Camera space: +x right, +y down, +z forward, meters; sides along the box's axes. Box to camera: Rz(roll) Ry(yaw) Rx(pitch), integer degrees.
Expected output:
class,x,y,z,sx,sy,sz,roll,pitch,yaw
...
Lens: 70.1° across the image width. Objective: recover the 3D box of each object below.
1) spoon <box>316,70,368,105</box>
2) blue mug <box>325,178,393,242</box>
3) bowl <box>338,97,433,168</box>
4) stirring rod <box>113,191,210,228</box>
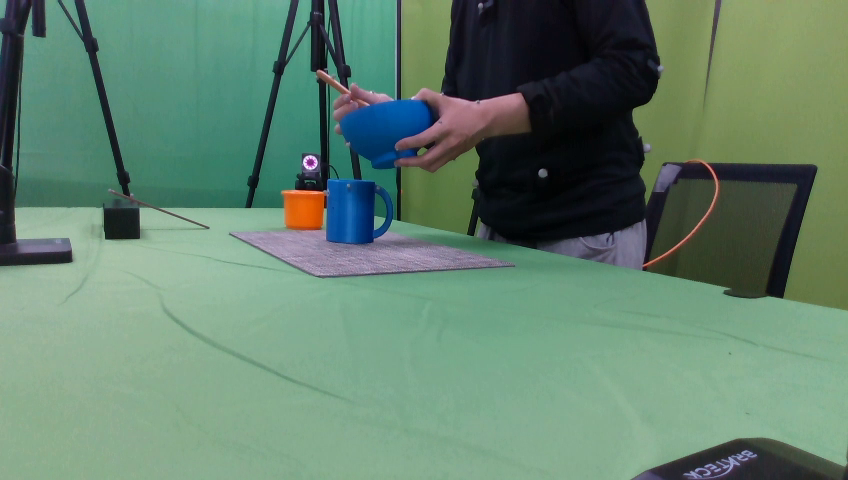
class,x,y,z,sx,sy,sz,roll,pitch,yaw
spoon,-0.099,-0.228,0.996,0.194,0.021,0.041,31,-34,3
blue mug,-0.111,-0.052,1.034,0.116,0.106,0.082,3,8,7
bowl,-0.053,-0.159,0.945,0.151,0.076,0.151,-11,-4,0
stirring rod,-0.484,-0.055,1.121,0.177,0.006,0.014,22,-6,-22
